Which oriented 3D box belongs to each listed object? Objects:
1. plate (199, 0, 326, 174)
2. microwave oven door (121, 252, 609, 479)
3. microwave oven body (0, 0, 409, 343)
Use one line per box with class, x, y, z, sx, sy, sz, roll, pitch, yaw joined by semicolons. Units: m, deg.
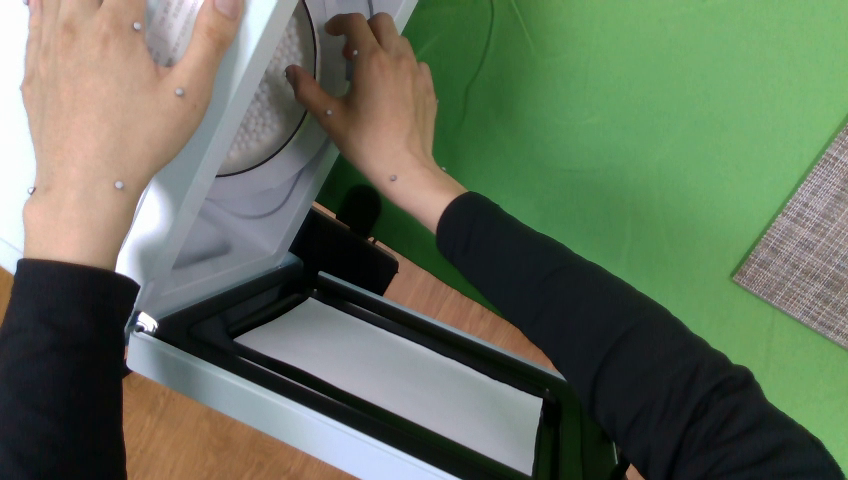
plate;-0.180;-0.164;0.541;0.208;0.038;0.209;2;100;14
microwave oven door;-0.016;0.114;0.495;0.355;0.243;0.039;22;104;8
microwave oven body;-0.185;-0.202;0.481;0.325;0.260;0.442;32;106;5
